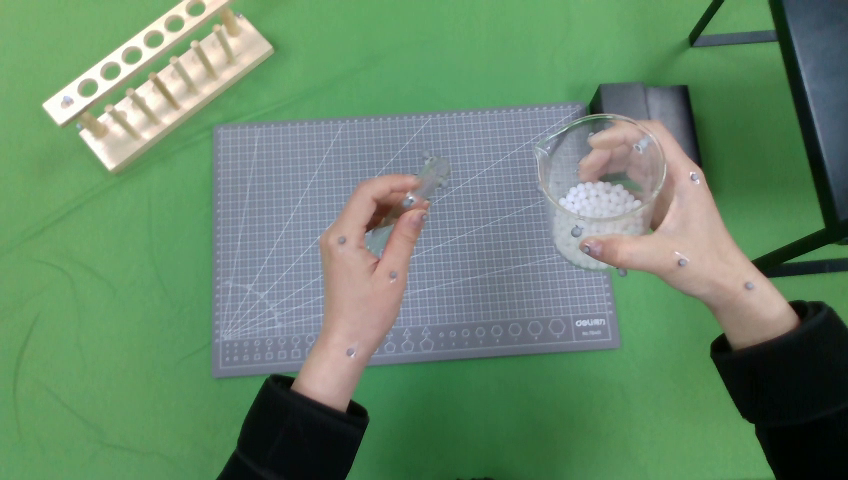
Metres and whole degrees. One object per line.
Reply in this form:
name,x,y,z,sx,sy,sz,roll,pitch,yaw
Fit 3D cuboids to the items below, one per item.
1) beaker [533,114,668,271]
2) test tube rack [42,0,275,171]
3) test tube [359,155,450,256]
beaker,0.114,-0.027,0.408,0.083,0.101,0.074,27,76,23
test tube rack,-0.298,-0.192,0.700,0.242,0.085,0.066,-41,79,-9
test tube,-0.019,-0.019,0.439,0.017,0.150,0.017,10,64,-21
